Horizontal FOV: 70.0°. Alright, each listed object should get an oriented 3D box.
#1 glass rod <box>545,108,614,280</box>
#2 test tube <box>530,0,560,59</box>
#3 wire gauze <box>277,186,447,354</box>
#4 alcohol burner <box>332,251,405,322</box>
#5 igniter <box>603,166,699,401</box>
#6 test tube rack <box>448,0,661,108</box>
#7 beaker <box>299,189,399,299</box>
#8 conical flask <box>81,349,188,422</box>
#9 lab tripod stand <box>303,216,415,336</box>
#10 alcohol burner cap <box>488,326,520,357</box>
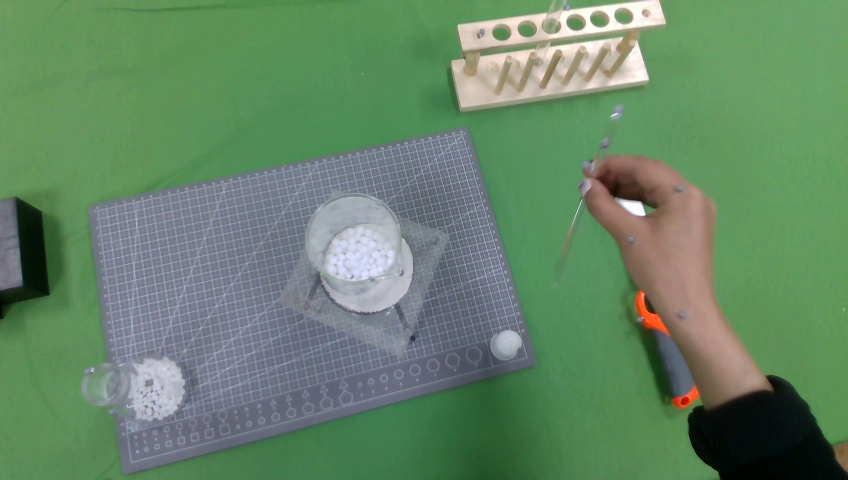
[{"bbox_3d":[0.124,-0.028,0.499,0.008,0.201,0.008,2,51,-3],"label":"glass rod"},{"bbox_3d":[0.139,-0.250,0.685,0.017,0.151,0.017,0,75,0],"label":"test tube"},{"bbox_3d":[-0.055,0.024,0.557,0.125,0.011,0.121,23,78,1],"label":"wire gauze"},{"bbox_3d":[-0.059,0.045,0.630,0.078,0.119,0.077,0,76,-1],"label":"alcohol burner"},{"bbox_3d":[0.260,0.045,0.698,0.057,0.025,0.275,-9,76,-17],"label":"igniter"},{"bbox_3d":[0.156,-0.226,0.731,0.243,0.085,0.066,-10,75,-6],"label":"test tube rack"},{"bbox_3d":[-0.056,0.010,0.512,0.084,0.100,0.074,36,77,6],"label":"beaker"},{"bbox_3d":[-0.284,0.139,0.587,0.075,0.122,0.075,1,75,-3],"label":"conical flask"},{"bbox_3d":[-0.061,0.040,0.621,0.148,0.132,0.147,1,77,-2],"label":"lab tripod stand"},{"bbox_3d":[0.089,0.108,0.660,0.034,0.048,0.033,1,74,-3],"label":"alcohol burner cap"}]
